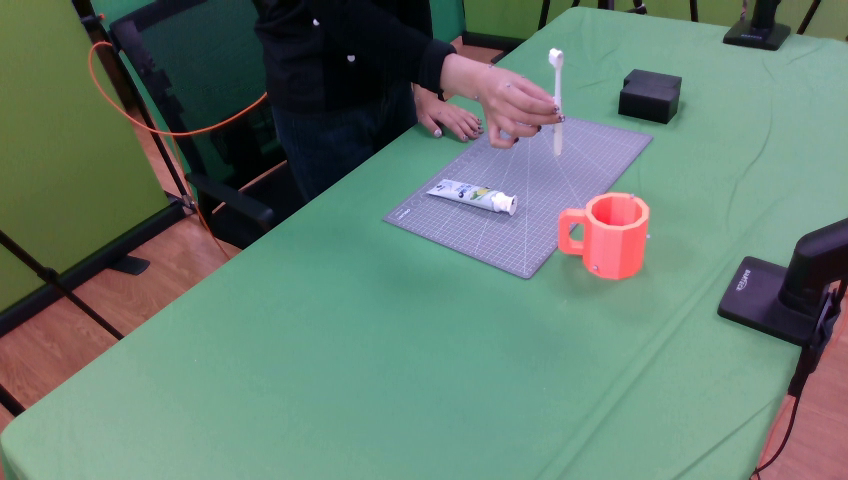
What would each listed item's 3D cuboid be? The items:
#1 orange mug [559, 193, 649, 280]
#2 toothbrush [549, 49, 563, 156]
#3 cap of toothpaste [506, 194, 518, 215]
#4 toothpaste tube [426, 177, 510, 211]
[{"bbox_3d":[0.261,-0.008,0.884,0.126,0.101,0.083,9,43,14],"label":"orange mug"},{"bbox_3d":[0.179,-0.181,0.817,0.014,0.183,0.016,-40,55,-17],"label":"toothbrush"},{"bbox_3d":[0.146,-0.060,1.007,0.011,0.037,0.037,14,46,22],"label":"cap of toothpaste"},{"bbox_3d":[0.083,-0.081,1.054,0.164,0.034,0.055,18,40,34],"label":"toothpaste tube"}]
